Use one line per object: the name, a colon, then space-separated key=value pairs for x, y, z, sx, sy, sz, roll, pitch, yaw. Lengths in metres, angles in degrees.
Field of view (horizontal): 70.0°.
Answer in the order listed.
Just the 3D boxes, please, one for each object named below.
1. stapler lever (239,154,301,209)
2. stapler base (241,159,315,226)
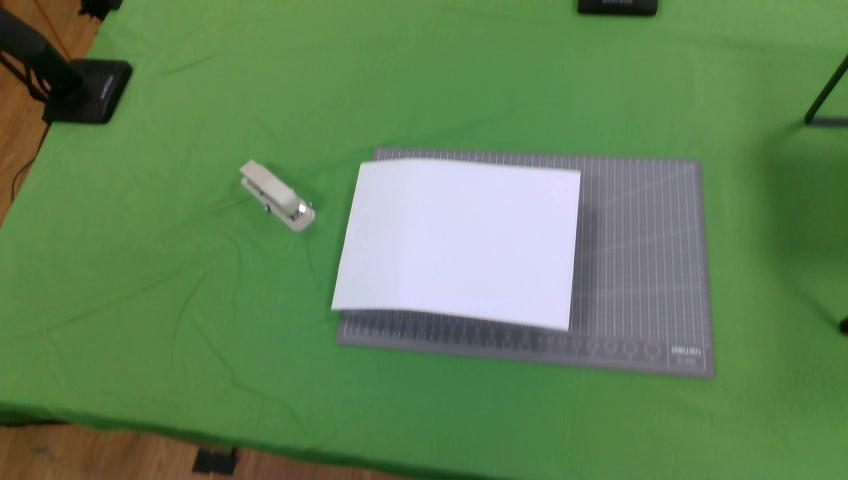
stapler lever: x=-0.213 y=-0.084 z=0.830 sx=0.117 sy=0.040 sz=0.027 roll=39 pitch=73 yaw=23
stapler base: x=-0.208 y=-0.072 z=0.852 sx=0.129 sy=0.024 sz=0.041 roll=39 pitch=73 yaw=23
